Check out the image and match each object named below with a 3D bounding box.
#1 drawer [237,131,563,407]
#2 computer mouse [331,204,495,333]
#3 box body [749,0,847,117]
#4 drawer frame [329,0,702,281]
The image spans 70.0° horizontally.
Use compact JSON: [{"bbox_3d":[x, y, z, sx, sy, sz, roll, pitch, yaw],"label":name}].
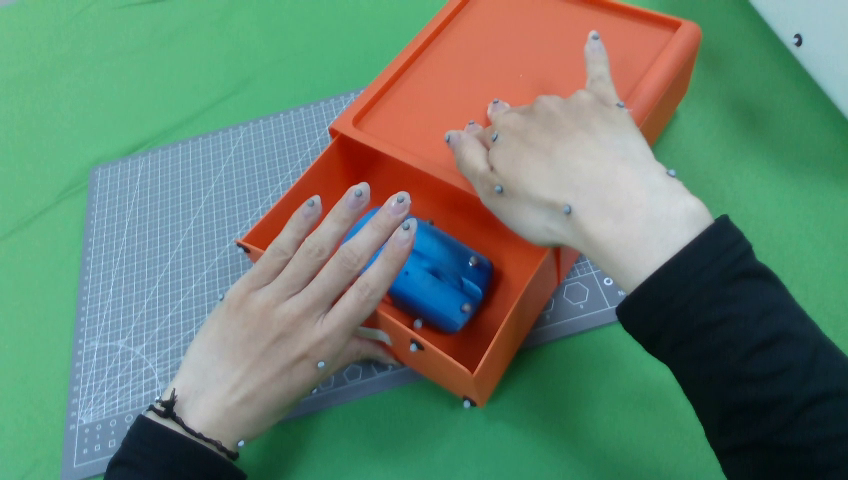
[{"bbox_3d":[0.010,-0.019,0.441,0.193,0.074,0.211,26,65,26],"label":"drawer"},{"bbox_3d":[-0.009,0.016,0.437,0.116,0.041,0.062,27,64,19],"label":"computer mouse"},{"bbox_3d":[0.409,-0.230,0.447,0.254,0.162,0.360,-15,56,1],"label":"box body"},{"bbox_3d":[0.071,-0.100,0.477,0.200,0.083,0.213,27,66,26],"label":"drawer frame"}]
